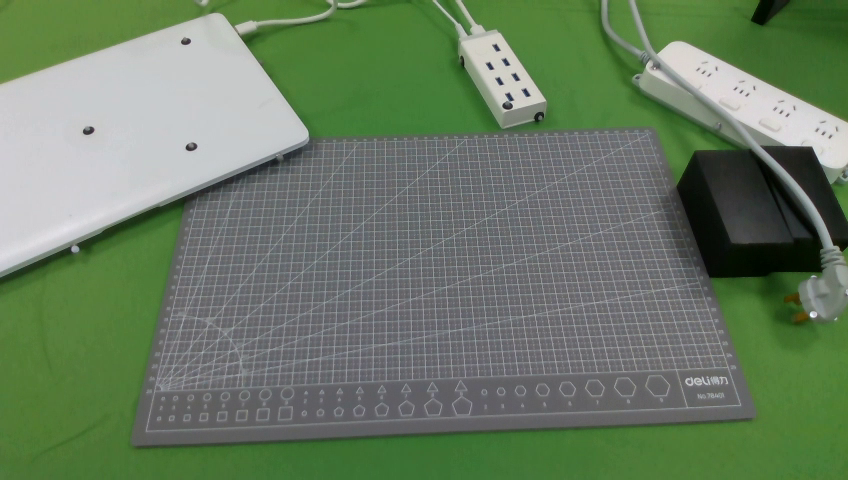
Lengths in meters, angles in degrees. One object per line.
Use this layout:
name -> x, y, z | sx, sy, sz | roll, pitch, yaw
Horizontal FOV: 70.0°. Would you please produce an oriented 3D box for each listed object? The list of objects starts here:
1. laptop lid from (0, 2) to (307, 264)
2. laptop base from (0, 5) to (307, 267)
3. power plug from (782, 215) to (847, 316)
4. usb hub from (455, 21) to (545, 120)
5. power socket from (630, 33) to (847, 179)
laptop lid -> -0.318, -0.110, 0.574 | 0.357, 0.013, 0.239 | -26, 61, -17
laptop base -> -0.319, -0.104, 0.585 | 0.354, 0.023, 0.233 | -28, 63, -18
power plug -> 0.308, 0.025, 0.479 | 0.035, 0.053, 0.072 | 22, 58, -19
usb hub -> 0.077, -0.180, 0.635 | 0.049, 0.025, 0.124 | -17, 57, -11
power socket -> 0.318, -0.138, 0.603 | 0.225, 0.033, 0.072 | 38, 63, 23
